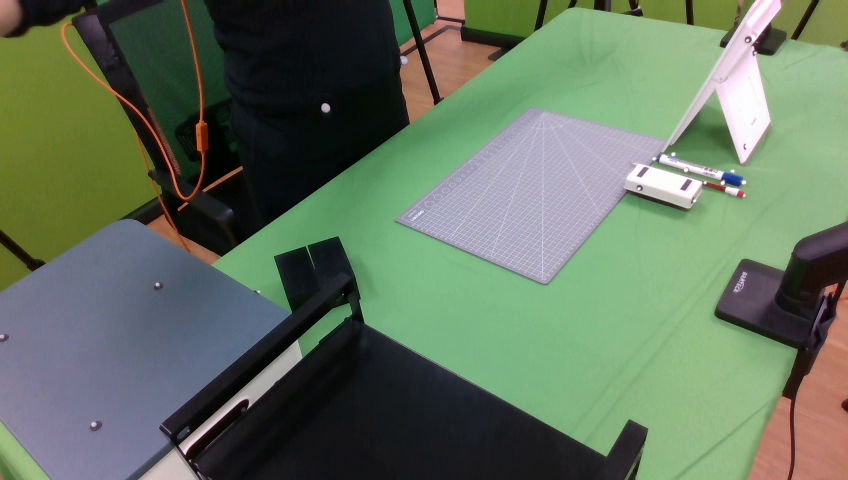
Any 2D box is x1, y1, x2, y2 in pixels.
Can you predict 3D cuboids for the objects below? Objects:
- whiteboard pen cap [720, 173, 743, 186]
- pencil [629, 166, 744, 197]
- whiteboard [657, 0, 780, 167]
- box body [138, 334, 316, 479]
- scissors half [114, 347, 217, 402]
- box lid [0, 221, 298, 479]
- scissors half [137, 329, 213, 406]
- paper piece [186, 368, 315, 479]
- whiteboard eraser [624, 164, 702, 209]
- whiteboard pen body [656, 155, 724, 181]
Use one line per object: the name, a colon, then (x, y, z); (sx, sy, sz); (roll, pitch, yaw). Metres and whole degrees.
whiteboard pen cap: (0.519, -0.103, 1.020); (0.033, 0.018, 0.018); (23, 49, 30)
pencil: (0.446, -0.103, 1.038); (0.192, 0.012, 0.012); (20, 48, 29)
whiteboard: (0.571, -0.272, 1.038); (0.143, 0.306, 0.218); (36, 54, 17)
box body: (-0.340, 0.162, 0.728); (0.361, 0.161, 0.255); (23, 48, 31)
scissors half: (-0.349, 0.185, 0.812); (0.174, 0.013, 0.040); (16, 52, 18)
box lid: (-0.346, 0.106, 0.679); (0.368, 0.015, 0.264); (23, 49, 31)
scissors half: (-0.336, 0.173, 0.824); (0.040, 0.013, 0.174); (-35, 54, -30)
paper piece: (-0.222, 0.234, 0.757); (0.136, 0.009, 0.137); (-38, 35, -23)
whiteboard eraser: (0.396, -0.087, 1.003); (0.112, 0.042, 0.056); (22, 47, 31)
whiteboard pen body: (0.475, -0.123, 1.052); (0.139, 0.017, 0.017); (24, 49, 32)
